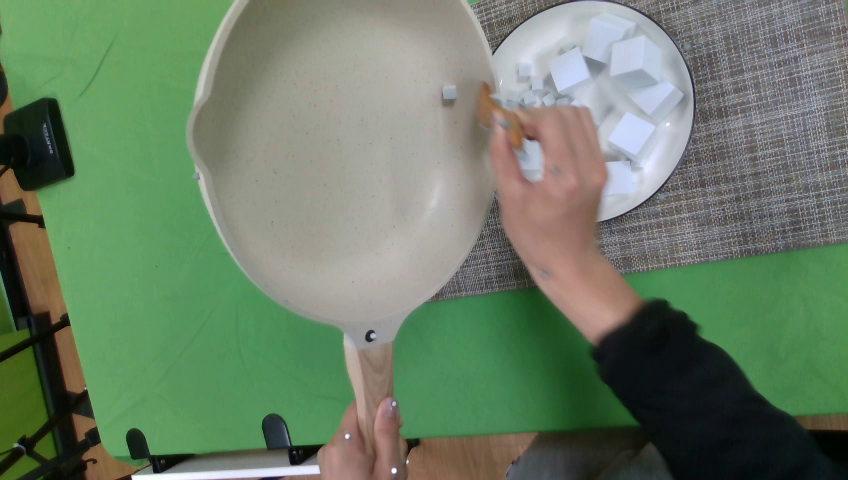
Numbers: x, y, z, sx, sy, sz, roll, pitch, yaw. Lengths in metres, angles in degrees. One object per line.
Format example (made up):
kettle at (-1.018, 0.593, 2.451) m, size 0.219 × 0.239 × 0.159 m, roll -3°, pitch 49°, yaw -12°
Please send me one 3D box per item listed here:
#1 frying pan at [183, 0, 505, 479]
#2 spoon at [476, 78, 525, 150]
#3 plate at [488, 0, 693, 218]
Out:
frying pan at (-0.049, 0.022, 0.496) m, size 0.102 × 0.308 × 0.488 m, roll 2°, pitch 96°, yaw 46°
spoon at (0.059, -0.097, 0.464) m, size 0.021 × 0.192 × 0.042 m, roll -12°, pitch 110°, yaw 0°
plate at (0.146, -0.126, 0.582) m, size 0.206 × 0.039 × 0.208 m, roll 4°, pitch 100°, yaw 23°
